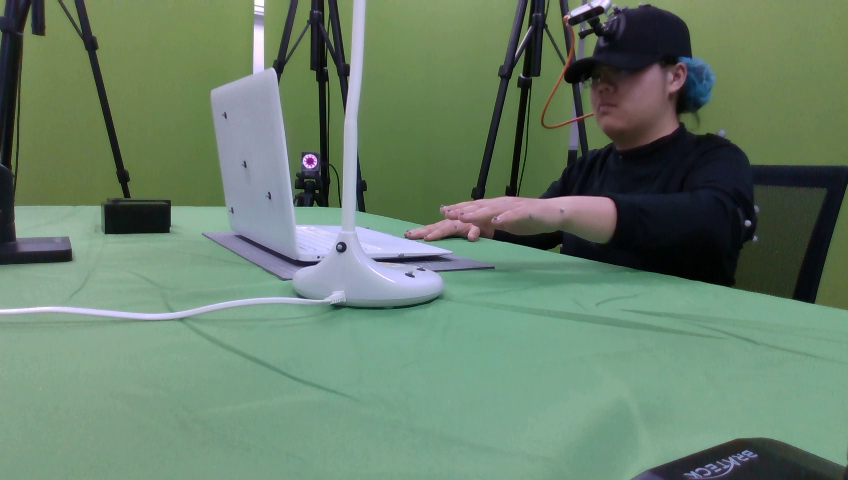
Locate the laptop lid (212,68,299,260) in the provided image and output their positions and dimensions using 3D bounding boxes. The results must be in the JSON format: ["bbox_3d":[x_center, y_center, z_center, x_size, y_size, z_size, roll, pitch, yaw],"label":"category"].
[{"bbox_3d":[-0.254,-0.110,0.872,0.013,0.241,0.355,-11,14,-30],"label":"laptop lid"}]

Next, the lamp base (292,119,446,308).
[{"bbox_3d":[-0.056,-0.030,0.616,0.160,0.180,0.179,4,10,8],"label":"lamp base"}]

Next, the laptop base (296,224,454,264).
[{"bbox_3d":[-0.143,0.004,0.957,0.237,0.023,0.352,2,7,-32],"label":"laptop base"}]
